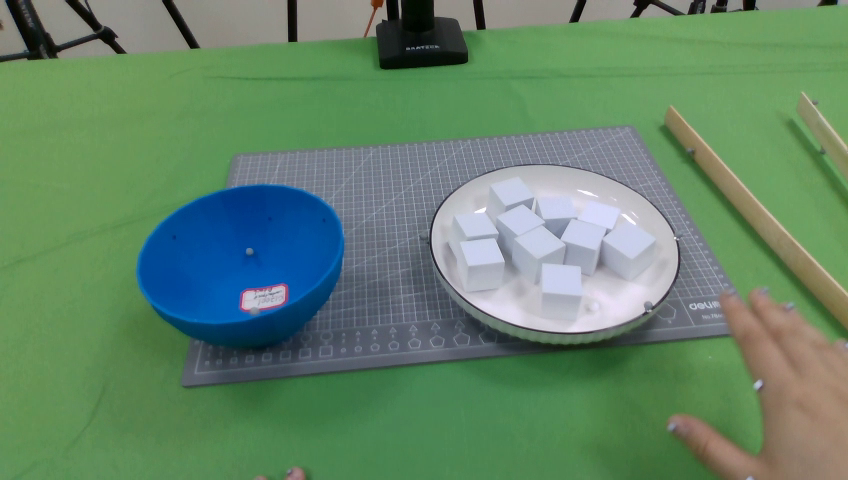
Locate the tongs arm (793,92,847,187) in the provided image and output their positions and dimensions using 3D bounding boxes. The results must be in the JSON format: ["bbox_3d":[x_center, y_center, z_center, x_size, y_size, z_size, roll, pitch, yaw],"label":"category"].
[{"bbox_3d":[0.399,-0.024,0.555,0.051,0.027,0.381,-1,44,2],"label":"tongs arm"}]

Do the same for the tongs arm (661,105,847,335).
[{"bbox_3d":[0.317,-0.016,0.555,0.028,0.028,0.383,-8,44,-10],"label":"tongs arm"}]

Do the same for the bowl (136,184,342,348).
[{"bbox_3d":[-0.135,0.032,0.477,0.151,0.077,0.150,-1,43,1],"label":"bowl"}]

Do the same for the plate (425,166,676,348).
[{"bbox_3d":[0.105,0.012,0.521,0.208,0.039,0.205,-1,43,1],"label":"plate"}]
